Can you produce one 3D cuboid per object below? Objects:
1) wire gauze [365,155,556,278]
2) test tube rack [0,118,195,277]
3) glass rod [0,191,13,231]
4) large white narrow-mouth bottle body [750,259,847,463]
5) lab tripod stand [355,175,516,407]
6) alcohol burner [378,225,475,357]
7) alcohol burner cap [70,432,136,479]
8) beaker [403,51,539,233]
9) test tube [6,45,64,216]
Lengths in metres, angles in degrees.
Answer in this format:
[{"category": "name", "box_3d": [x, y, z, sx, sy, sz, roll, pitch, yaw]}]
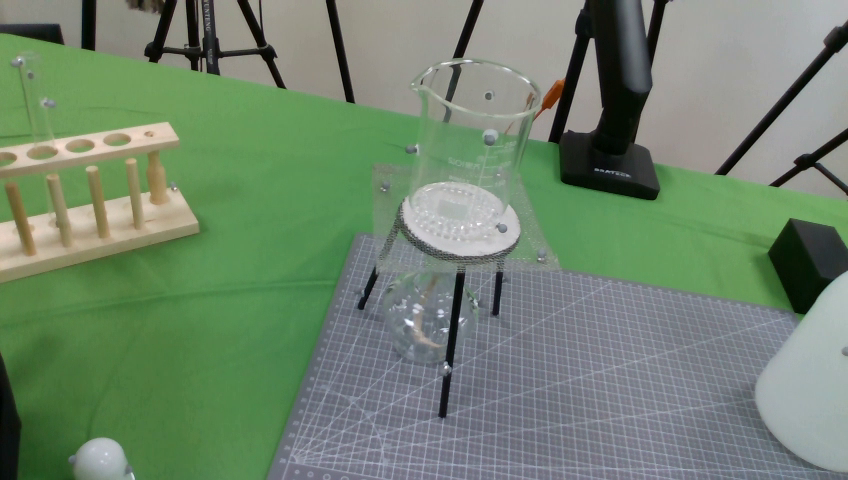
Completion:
[{"category": "wire gauze", "box_3d": [0.020, -0.021, 0.428, 0.122, 0.011, 0.123, 0, 44, -10]}, {"category": "test tube rack", "box_3d": [-0.329, -0.030, 0.507, 0.243, 0.086, 0.066, -18, 47, -31]}, {"category": "glass rod", "box_3d": [-0.350, -0.091, 0.469, 0.008, 0.201, 0.008, 3, 34, -2]}, {"category": "large white narrow-mouth bottle body", "box_3d": [0.329, 0.071, 0.442, 0.102, 0.196, 0.101, 6, 39, -4]}, {"category": "lab tripod stand", "box_3d": [0.015, 0.031, 0.468, 0.149, 0.132, 0.147, 8, 40, -6]}, {"category": "alcohol burner", "box_3d": [0.005, 0.035, 0.476, 0.078, 0.120, 0.077, 8, 38, -6]}, {"category": "alcohol burner cap", "box_3d": [-0.197, 0.138, 0.368, 0.034, 0.048, 0.033, 7, 39, -5]}, {"category": "beaker", "box_3d": [0.023, -0.061, 0.400, 0.084, 0.101, 0.073, 6, 41, -6]}, {"category": "test tube", "box_3d": [-0.316, -0.083, 0.496, 0.017, 0.151, 0.017, 8, 35, -5]}]
